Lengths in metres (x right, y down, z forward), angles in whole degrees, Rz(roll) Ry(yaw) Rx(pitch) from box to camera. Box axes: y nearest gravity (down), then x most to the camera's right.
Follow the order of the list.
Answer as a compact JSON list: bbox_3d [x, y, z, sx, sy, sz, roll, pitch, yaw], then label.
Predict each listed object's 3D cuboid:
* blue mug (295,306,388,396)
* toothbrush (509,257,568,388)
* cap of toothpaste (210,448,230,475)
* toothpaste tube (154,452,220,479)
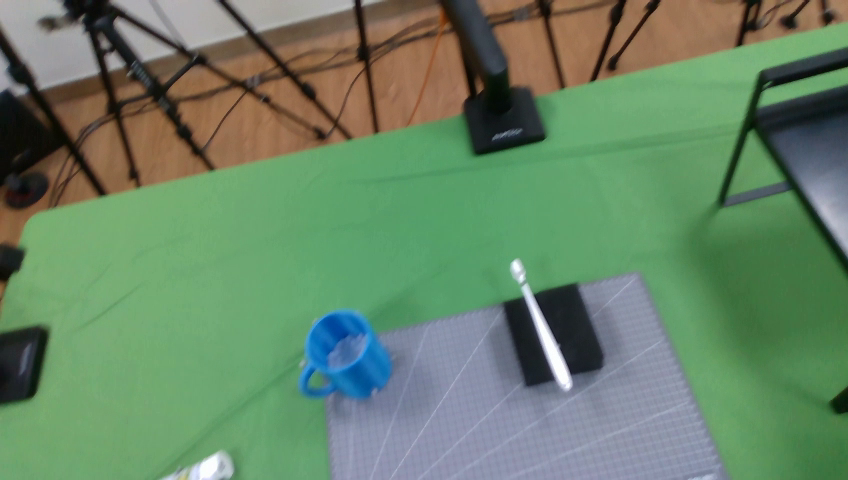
[{"bbox_3d":[-0.110,0.153,0.767,0.116,0.107,0.081,-38,59,-11],"label":"blue mug"},{"bbox_3d":[0.139,0.096,0.742,0.014,0.017,0.180,-16,57,-3],"label":"toothbrush"},{"bbox_3d":[-0.259,0.281,0.765,0.011,0.038,0.037,-28,57,-1],"label":"cap of toothpaste"},{"bbox_3d":[-0.329,0.317,0.766,0.165,0.035,0.054,-28,53,-1],"label":"toothpaste tube"}]
